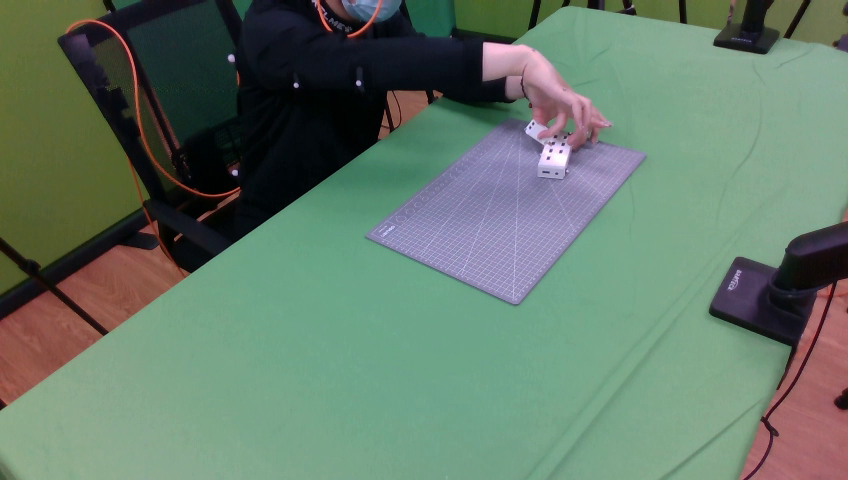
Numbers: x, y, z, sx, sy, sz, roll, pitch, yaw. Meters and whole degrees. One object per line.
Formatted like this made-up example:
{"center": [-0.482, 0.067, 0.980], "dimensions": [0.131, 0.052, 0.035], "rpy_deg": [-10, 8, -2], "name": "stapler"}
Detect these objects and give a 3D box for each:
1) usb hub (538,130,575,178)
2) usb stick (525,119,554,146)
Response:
{"center": [0.245, -0.159, 1.112], "dimensions": [0.049, 0.025, 0.125], "rpy_deg": [9, 44, 18], "name": "usb hub"}
{"center": [0.211, -0.189, 1.076], "dimensions": [0.059, 0.027, 0.021], "rpy_deg": [29, 23, -26], "name": "usb stick"}
